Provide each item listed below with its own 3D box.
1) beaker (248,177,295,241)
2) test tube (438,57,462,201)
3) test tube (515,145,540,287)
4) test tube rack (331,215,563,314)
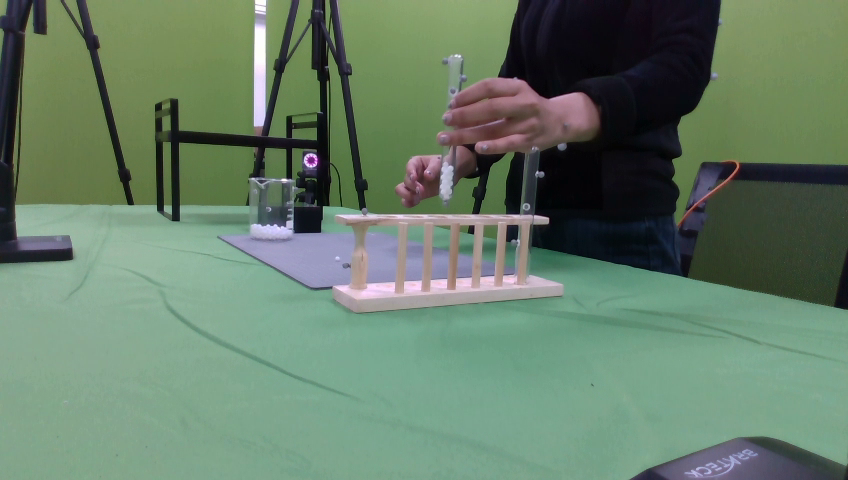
[{"bbox_3d":[-0.252,-0.051,0.992,0.074,0.100,0.084,3,9,6],"label":"beaker"},{"bbox_3d":[0.027,-0.115,0.629,0.017,0.150,0.017,4,0,0],"label":"test tube"},{"bbox_3d":[0.109,-0.024,0.638,0.017,0.150,0.017,3,8,0],"label":"test tube"},{"bbox_3d":[0.031,0.019,0.625,0.243,0.085,0.066,-1,8,-28],"label":"test tube rack"}]
